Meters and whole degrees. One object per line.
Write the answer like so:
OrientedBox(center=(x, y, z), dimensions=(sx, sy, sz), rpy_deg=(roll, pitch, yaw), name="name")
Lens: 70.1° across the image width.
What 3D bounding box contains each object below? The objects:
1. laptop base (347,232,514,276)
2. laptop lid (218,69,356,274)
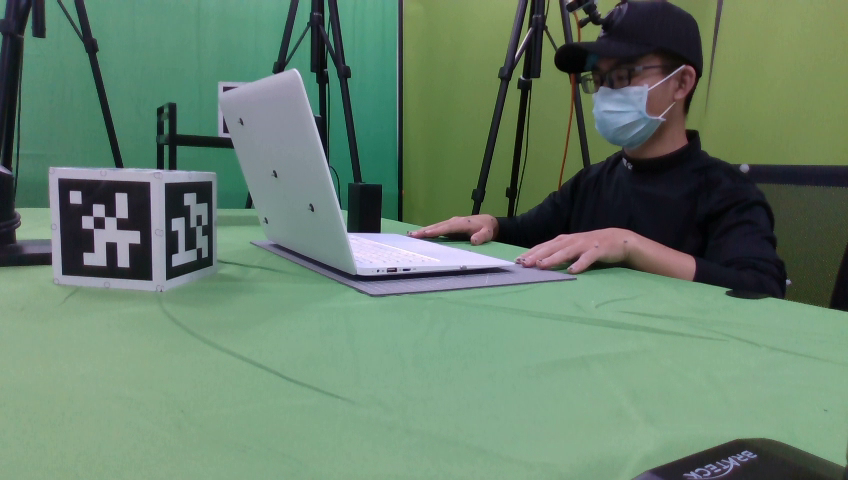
OrientedBox(center=(-0.066, 0.017, 0.893), dimensions=(0.237, 0.023, 0.352), rpy_deg=(1, 6, -32), name="laptop base")
OrientedBox(center=(-0.195, -0.090, 0.798), dimensions=(0.013, 0.242, 0.355), rpy_deg=(-23, 20, -27), name="laptop lid")
